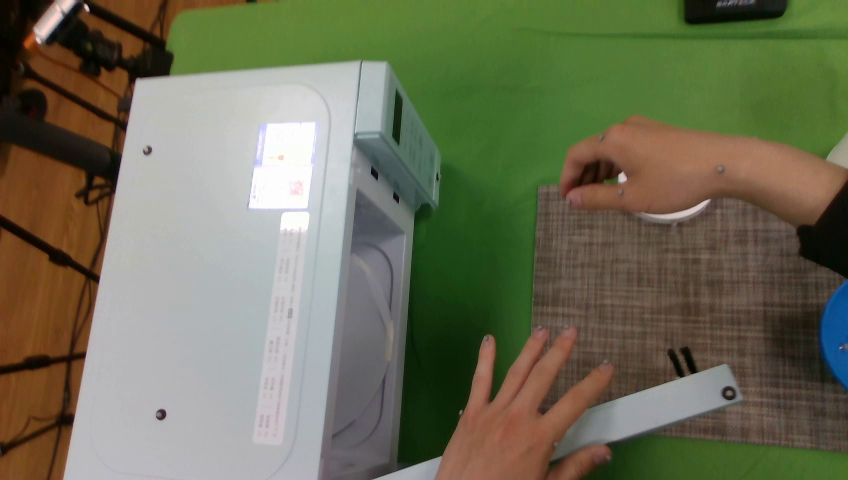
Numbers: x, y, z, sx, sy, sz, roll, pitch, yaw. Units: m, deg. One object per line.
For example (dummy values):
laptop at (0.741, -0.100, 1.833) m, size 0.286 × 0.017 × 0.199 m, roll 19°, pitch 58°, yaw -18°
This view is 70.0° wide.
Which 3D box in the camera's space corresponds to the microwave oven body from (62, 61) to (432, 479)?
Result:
microwave oven body at (-0.178, 0.058, 0.714) m, size 0.325 × 0.262 × 0.439 m, roll 0°, pitch 76°, yaw 14°

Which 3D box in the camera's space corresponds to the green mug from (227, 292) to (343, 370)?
green mug at (-0.159, 0.104, 0.721) m, size 0.125 × 0.105 × 0.092 m, roll -14°, pitch 76°, yaw 3°

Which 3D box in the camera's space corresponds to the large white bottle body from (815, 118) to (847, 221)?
large white bottle body at (0.496, -0.098, 0.612) m, size 0.130 × 0.186 × 0.130 m, roll -5°, pitch 71°, yaw 14°

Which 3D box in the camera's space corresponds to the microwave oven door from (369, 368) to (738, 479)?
microwave oven door at (0.104, 0.197, 0.598) m, size 0.355 × 0.245 × 0.039 m, roll -22°, pitch 71°, yaw 9°

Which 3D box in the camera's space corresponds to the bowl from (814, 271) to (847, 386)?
bowl at (0.478, 0.098, 0.624) m, size 0.151 × 0.077 × 0.150 m, roll -4°, pitch 75°, yaw 15°

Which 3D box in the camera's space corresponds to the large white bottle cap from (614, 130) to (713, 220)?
large white bottle cap at (0.296, -0.081, 0.751) m, size 0.114 × 0.018 × 0.114 m, roll -4°, pitch 74°, yaw 14°

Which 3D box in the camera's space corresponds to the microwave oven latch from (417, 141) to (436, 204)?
microwave oven latch at (0.001, -0.090, 0.808) m, size 0.030 × 0.030 × 0.079 m, roll -1°, pitch 77°, yaw 14°
